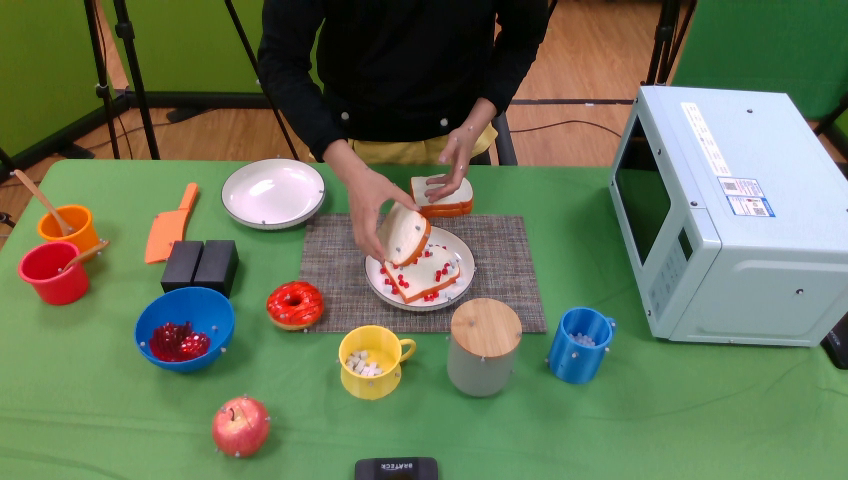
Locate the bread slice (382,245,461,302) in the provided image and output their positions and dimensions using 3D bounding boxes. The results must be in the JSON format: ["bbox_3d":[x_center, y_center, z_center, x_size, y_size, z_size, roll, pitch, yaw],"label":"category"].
[{"bbox_3d":[0.000,0.053,1.128,0.132,0.019,0.104,-20,51,-22],"label":"bread slice"}]

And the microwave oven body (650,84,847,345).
[{"bbox_3d":[0.569,-0.054,1.116,0.326,0.261,0.439,2,46,-1],"label":"microwave oven body"}]

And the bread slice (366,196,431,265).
[{"bbox_3d":[-0.040,-0.014,1.045,0.133,0.018,0.107,28,89,53],"label":"bread slice"}]

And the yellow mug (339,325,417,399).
[{"bbox_3d":[-0.072,0.191,0.978,0.131,0.064,0.099,-17,49,-20],"label":"yellow mug"}]

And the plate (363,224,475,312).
[{"bbox_3d":[-0.009,0.054,1.126,0.208,0.039,0.206,2,47,-2],"label":"plate"}]

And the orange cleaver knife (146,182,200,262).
[{"bbox_3d":[-0.494,-0.039,1.199,0.077,0.012,0.210,-3,48,2],"label":"orange cleaver knife"}]

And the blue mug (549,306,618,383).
[{"bbox_3d":[0.269,0.167,0.997,0.116,0.106,0.082,-19,51,-21],"label":"blue mug"}]

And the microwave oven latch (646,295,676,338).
[{"bbox_3d":[0.413,0.133,1.060,0.030,0.029,0.078,4,46,1],"label":"microwave oven latch"}]

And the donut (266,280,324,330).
[{"bbox_3d":[-0.223,0.113,1.051,0.099,0.048,0.098,2,45,-1],"label":"donut"}]

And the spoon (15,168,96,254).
[{"bbox_3d":[-0.675,-0.053,1.109,0.021,0.194,0.041,-14,23,51],"label":"spoon"}]

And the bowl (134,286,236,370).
[{"bbox_3d":[-0.377,0.156,0.981,0.151,0.077,0.150,2,46,-2],"label":"bowl"}]

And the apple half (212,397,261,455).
[{"bbox_3d":[-0.276,0.276,0.877,0.053,0.075,0.080,-29,58,-21],"label":"apple half"}]

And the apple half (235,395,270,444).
[{"bbox_3d":[-0.245,0.260,0.893,0.033,0.082,0.081,-29,55,-22],"label":"apple half"}]

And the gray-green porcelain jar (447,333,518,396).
[{"bbox_3d":[0.091,0.178,0.960,0.106,0.127,0.105,2,46,-2],"label":"gray-green porcelain jar"}]

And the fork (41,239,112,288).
[{"bbox_3d":[-0.591,0.040,1.028,0.207,0.019,0.028,-27,36,29],"label":"fork"}]

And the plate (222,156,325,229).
[{"bbox_3d":[-0.308,-0.095,1.251,0.209,0.038,0.208,2,47,-2],"label":"plate"}]

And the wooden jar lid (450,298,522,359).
[{"bbox_3d":[0.093,0.135,0.914,0.108,0.021,0.107,2,49,-3],"label":"wooden jar lid"}]

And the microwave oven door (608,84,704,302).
[{"bbox_3d":[0.424,-0.096,1.138,0.039,0.245,0.353,2,47,-1],"label":"microwave oven door"}]
